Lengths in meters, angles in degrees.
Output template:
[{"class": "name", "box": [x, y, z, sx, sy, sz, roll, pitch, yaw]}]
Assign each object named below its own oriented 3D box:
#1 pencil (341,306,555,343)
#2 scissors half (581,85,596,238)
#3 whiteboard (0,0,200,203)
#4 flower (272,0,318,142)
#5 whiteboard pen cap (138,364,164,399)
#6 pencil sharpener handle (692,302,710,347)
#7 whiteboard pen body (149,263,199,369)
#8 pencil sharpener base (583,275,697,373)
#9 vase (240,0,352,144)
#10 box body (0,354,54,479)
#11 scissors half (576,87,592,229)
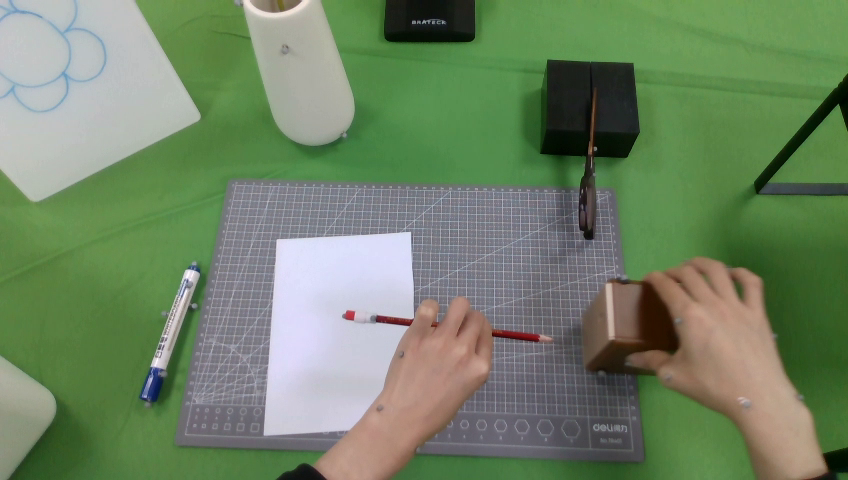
[{"class": "pencil", "box": [0.022, 0.078, 0.544, 0.194, 0.012, 0.012, 8, 65, 1]}, {"class": "scissors half", "box": [0.185, -0.089, 0.672, 0.012, 0.040, 0.174, 0, 83, 27]}, {"class": "whiteboard", "box": [-0.430, -0.235, 0.659, 0.217, 0.309, 0.142, -30, 49, -12]}, {"class": "flower", "box": [-0.146, -0.242, 0.591, 0.044, 0.365, 0.038, -5, 47, 2]}, {"class": "whiteboard pen cap", "box": [-0.270, 0.140, 0.603, 0.018, 0.018, 0.033, 7, 60, 5]}, {"class": "pencil sharpener handle", "box": [0.247, 0.080, 0.548, 0.030, 0.068, 0.035, 4, 61, 3]}, {"class": "whiteboard pen body", "box": [-0.262, 0.088, 0.629, 0.017, 0.017, 0.140, 8, 63, 5]}, {"class": "pencil sharpener base", "box": [0.196, 0.081, 0.562, 0.076, 0.108, 0.061, 4, 65, 3]}, {"class": "vase", "box": [-0.138, -0.194, 0.660, 0.098, 0.201, 0.097, -1, 63, 2]}, {"class": "box body", "box": [-0.562, 0.146, 0.528, 0.362, 0.161, 0.253, 27, 68, 13]}, {"class": "scissors half", "box": [0.176, -0.094, 0.654, 0.013, 0.040, 0.174, 1, 66, 22]}]
